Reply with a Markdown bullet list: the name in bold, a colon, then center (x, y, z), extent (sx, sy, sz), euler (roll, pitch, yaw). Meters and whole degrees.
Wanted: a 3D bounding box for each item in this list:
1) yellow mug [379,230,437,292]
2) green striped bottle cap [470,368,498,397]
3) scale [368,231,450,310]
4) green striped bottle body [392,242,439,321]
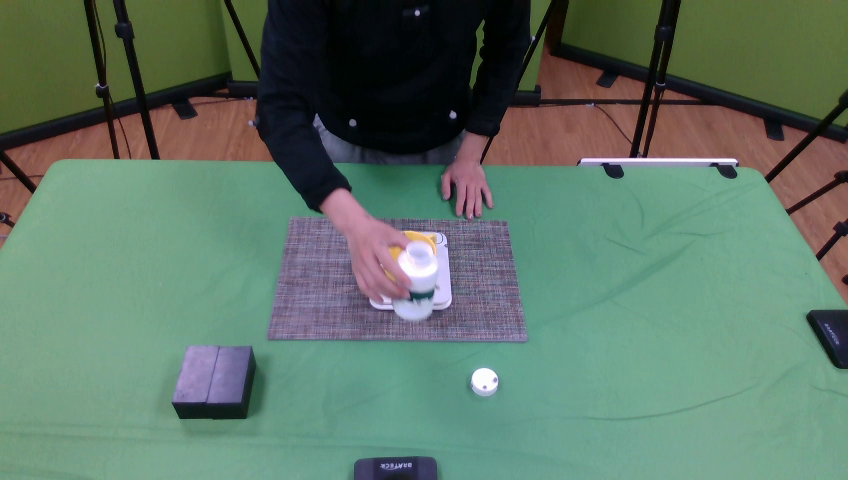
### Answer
- **yellow mug**: center (-0.020, 0.031, 1.089), extent (0.099, 0.064, 0.130), euler (31, 51, 25)
- **green striped bottle cap**: center (0.097, 0.232, 0.989), extent (0.044, 0.020, 0.044), euler (2, 42, -2)
- **scale**: center (-0.029, 0.049, 1.137), extent (0.149, 0.032, 0.199), euler (1, 46, -4)
- **green striped bottle body**: center (-0.013, 0.060, 0.900), extent (0.063, 0.120, 0.063), euler (4, 41, -4)
